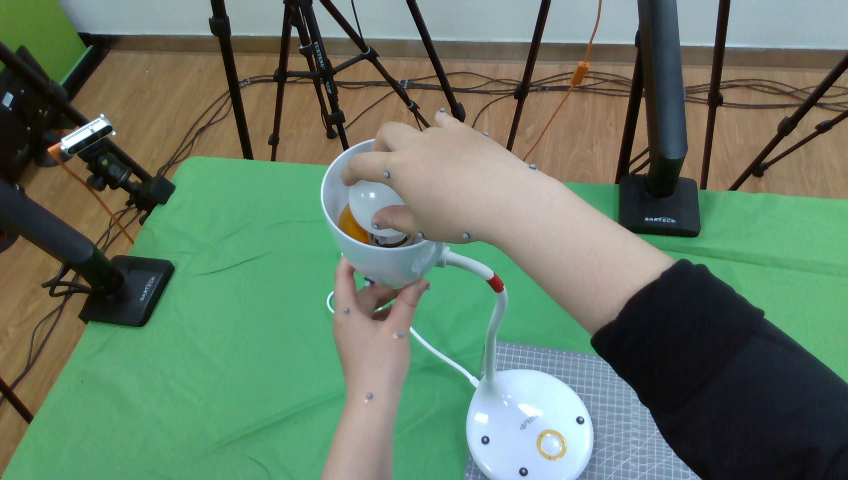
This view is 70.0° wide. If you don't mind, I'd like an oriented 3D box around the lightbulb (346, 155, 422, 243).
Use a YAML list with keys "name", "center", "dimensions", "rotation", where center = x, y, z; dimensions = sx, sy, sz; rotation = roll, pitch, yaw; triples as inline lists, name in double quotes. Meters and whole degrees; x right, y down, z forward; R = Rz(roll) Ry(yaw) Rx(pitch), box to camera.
- name: "lightbulb"
  center: [-0.031, -0.025, 0.495]
  dimensions: [0.059, 0.108, 0.059]
  rotation: [0, 63, 0]

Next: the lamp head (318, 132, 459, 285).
- name: "lamp head"
  center: [-0.024, -0.013, 0.522]
  dimensions: [0.112, 0.124, 0.111]
  rotation: [-2, 58, 4]

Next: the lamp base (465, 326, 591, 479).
- name: "lamp base"
  center: [0.113, 0.182, 0.721]
  dimensions: [0.177, 0.182, 0.160]
  rotation: [29, 62, 29]
